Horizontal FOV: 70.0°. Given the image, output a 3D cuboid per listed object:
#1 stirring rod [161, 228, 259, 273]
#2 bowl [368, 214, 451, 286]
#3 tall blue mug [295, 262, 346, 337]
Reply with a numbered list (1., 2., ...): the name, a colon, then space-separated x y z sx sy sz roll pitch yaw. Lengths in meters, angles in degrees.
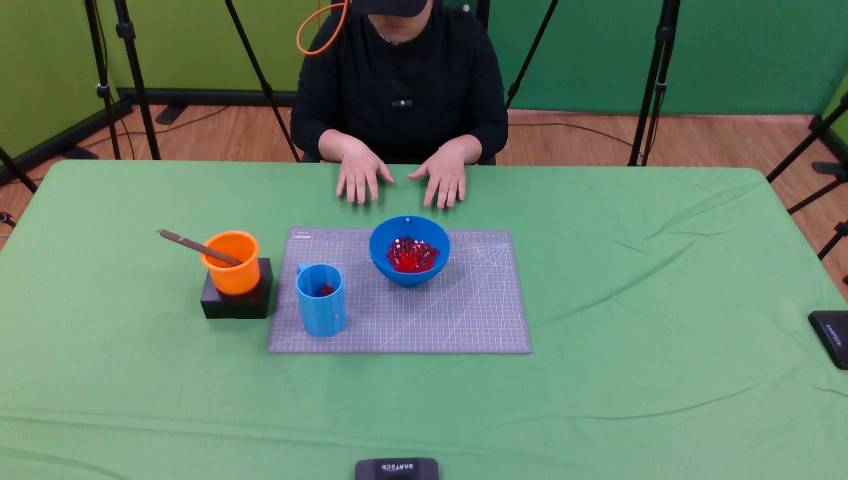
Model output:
1. stirring rod: -0.351 0.019 1.003 0.177 0.006 0.014 28 34 -38
2. bowl: -0.028 0.031 1.122 0.151 0.077 0.150 2 46 -2
3. tall blue mug: -0.187 0.096 1.027 0.107 0.108 0.077 21 49 15
